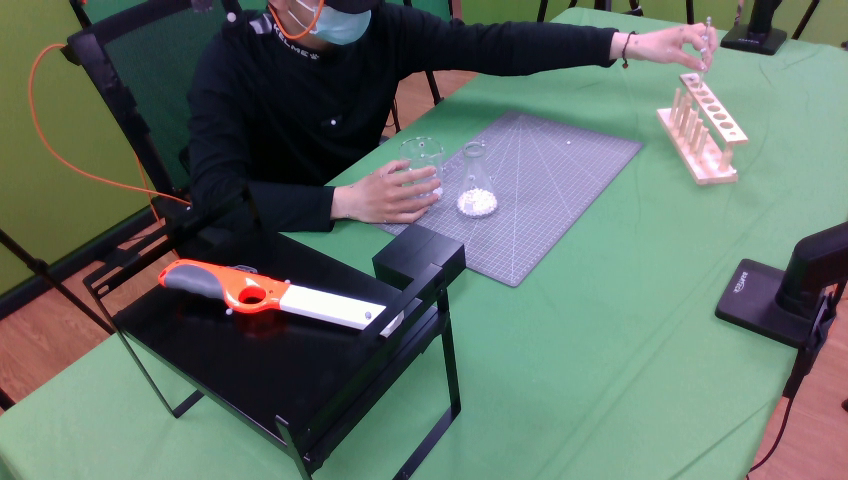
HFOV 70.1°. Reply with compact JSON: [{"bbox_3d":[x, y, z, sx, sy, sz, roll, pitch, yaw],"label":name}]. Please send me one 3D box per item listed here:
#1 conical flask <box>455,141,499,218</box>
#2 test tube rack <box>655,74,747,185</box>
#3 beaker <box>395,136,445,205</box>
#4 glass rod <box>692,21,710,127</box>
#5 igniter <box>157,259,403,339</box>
[{"bbox_3d":[0.085,-0.103,0.999,0.075,0.122,0.075,-4,40,4],"label":"conical flask"},{"bbox_3d":[0.491,-0.205,1.092,0.067,0.085,0.241,-5,40,3],"label":"test tube rack"},{"bbox_3d":[-0.002,-0.118,1.048,0.084,0.101,0.074,4,42,12],"label":"beaker"},{"bbox_3d":[0.494,-0.291,1.089,0.008,0.200,0.008,-4,35,3],"label":"glass rod"},{"bbox_3d":[-0.157,0.059,0.638,0.275,0.025,0.057,11,43,14],"label":"igniter"}]
